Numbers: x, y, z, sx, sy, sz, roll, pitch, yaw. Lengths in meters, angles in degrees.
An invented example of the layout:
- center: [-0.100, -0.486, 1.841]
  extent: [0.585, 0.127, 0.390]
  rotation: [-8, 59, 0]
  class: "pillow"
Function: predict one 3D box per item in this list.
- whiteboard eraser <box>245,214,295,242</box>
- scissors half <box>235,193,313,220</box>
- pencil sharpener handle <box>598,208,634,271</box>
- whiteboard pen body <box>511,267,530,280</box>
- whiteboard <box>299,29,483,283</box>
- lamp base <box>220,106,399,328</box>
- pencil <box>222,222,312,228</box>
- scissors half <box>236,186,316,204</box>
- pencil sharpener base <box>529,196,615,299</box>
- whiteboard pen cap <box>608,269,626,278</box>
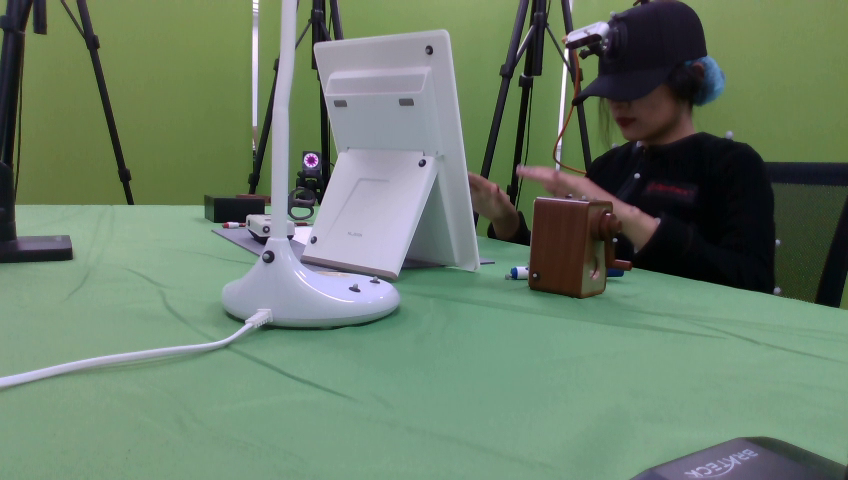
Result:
- center: [-0.247, -0.018, 0.965]
  extent: [0.056, 0.042, 0.112]
  rotation: [0, 8, -28]
  class: "whiteboard eraser"
- center: [-0.325, -0.077, 1.320]
  extent: [0.176, 0.040, 0.012]
  rotation: [17, 8, -32]
  class: "scissors half"
- center: [0.208, 0.000, 0.645]
  extent: [0.030, 0.068, 0.036]
  rotation: [10, 22, 42]
  class: "pencil sharpener handle"
- center: [0.178, 0.041, 0.758]
  extent: [0.141, 0.017, 0.017]
  rotation: [0, 8, -8]
  class: "whiteboard pen body"
- center: [-0.074, -0.082, 0.742]
  extent: [0.216, 0.305, 0.144]
  rotation: [9, 29, 37]
  class: "whiteboard"
- center: [-0.102, -0.023, 0.531]
  extent: [0.160, 0.180, 0.179]
  rotation: [3, 10, 10]
  class: "lamp base"
- center: [-0.302, -0.030, 1.189]
  extent: [0.195, 0.012, 0.012]
  rotation: [-3, 9, -42]
  class: "pencil"
- center: [-0.320, -0.097, 1.316]
  extent: [0.176, 0.040, 0.013]
  rotation: [-3, 13, -29]
  class: "scissors half"
- center: [0.168, 0.007, 0.678]
  extent: [0.076, 0.107, 0.062]
  rotation: [10, 10, 42]
  class: "pencil sharpener base"
- center: [0.237, 0.039, 0.767]
  extent: [0.033, 0.018, 0.018]
  rotation: [-2, 8, -7]
  class: "whiteboard pen cap"
